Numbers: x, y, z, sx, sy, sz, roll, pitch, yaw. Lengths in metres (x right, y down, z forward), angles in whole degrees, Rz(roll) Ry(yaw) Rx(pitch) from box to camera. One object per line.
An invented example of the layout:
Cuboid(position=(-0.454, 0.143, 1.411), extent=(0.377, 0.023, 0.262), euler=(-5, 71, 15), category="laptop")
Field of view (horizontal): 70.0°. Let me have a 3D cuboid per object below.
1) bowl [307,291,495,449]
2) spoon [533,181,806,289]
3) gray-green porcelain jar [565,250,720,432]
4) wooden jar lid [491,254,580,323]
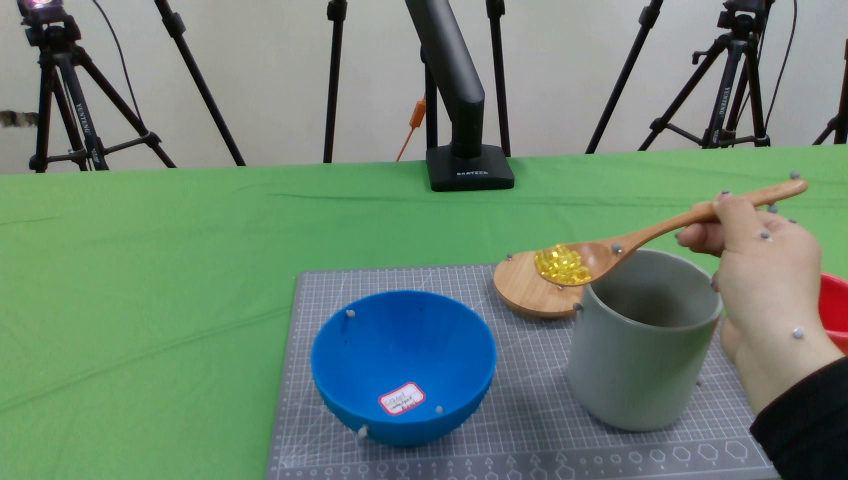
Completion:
Cuboid(position=(-0.018, 0.120, 0.508), extent=(0.151, 0.077, 0.150), euler=(0, 35, 0), category="bowl")
Cuboid(position=(0.169, -0.006, 0.417), extent=(0.194, 0.022, 0.041), euler=(-21, 40, 5), category="spoon")
Cuboid(position=(0.178, 0.089, 0.512), extent=(0.106, 0.127, 0.105), euler=(0, 35, 0), category="gray-green porcelain jar")
Cuboid(position=(0.127, 0.053, 0.660), extent=(0.108, 0.021, 0.107), euler=(0, 33, 0), category="wooden jar lid")
